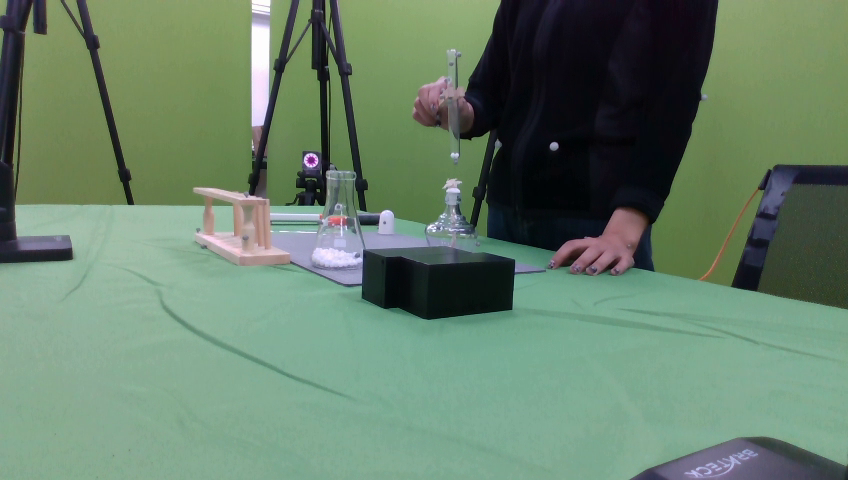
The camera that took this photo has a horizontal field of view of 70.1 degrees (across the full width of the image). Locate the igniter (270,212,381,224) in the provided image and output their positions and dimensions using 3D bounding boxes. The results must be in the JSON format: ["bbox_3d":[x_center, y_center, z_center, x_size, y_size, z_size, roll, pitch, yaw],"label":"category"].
[{"bbox_3d":[-0.213,-0.047,1.278,0.278,0.025,0.057,-1,-2,-24],"label":"igniter"}]

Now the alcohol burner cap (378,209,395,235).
[{"bbox_3d":[-0.070,-0.035,1.144,0.034,0.048,0.034,2,8,0],"label":"alcohol burner cap"}]

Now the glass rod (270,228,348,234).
[{"bbox_3d":[-0.234,-0.017,1.105,0.201,0.008,0.008,1,7,-26],"label":"glass rod"}]

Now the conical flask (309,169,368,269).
[{"bbox_3d":[-0.107,-0.027,0.762,0.075,0.122,0.075,2,7,0],"label":"conical flask"}]

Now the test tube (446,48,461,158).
[{"bbox_3d":[0.041,-0.190,0.839,0.017,0.150,0.017,-2,3,0],"label":"test tube"}]

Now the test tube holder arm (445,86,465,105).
[{"bbox_3d":[0.040,-0.205,0.862,0.010,0.015,0.087,0,4,-16],"label":"test tube holder arm"}]

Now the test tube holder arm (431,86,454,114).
[{"bbox_3d":[0.026,-0.208,0.905,0.013,0.015,0.178,1,4,-8],"label":"test tube holder arm"}]

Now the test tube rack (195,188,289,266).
[{"bbox_3d":[-0.266,-0.025,0.864,0.067,0.085,0.241,-2,8,-33],"label":"test tube rack"}]

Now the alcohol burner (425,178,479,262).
[{"bbox_3d":[0.040,-0.028,0.853,0.078,0.119,0.078,2,9,0],"label":"alcohol burner"}]
